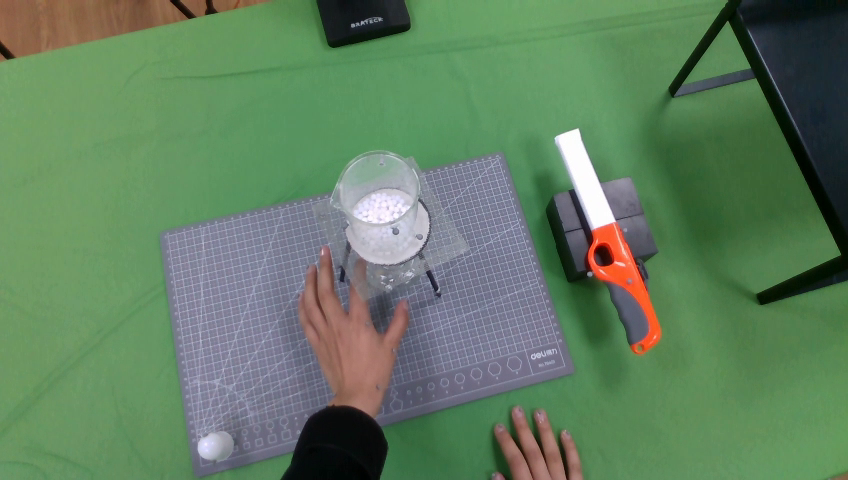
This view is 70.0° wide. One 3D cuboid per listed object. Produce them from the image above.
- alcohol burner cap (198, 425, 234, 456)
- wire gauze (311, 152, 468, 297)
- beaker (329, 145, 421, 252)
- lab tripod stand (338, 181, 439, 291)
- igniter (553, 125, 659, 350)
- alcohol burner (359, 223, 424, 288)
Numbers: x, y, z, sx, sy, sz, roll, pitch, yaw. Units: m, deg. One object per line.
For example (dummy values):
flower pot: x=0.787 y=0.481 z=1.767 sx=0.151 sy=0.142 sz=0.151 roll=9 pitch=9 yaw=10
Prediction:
alcohol burner cap: x=-0.232 y=0.221 z=0.669 sx=0.034 sy=0.048 sz=0.033 roll=0 pitch=71 yaw=1
wire gauze: x=-0.037 y=-0.018 z=0.627 sx=0.125 sy=0.011 sz=0.121 roll=-26 pitch=76 yaw=-10
beaker: x=-0.044 y=-0.034 z=0.582 sx=0.084 sy=0.101 sz=0.073 roll=-16 pitch=72 yaw=-5
lab tripod stand: x=-0.038 y=-0.005 z=0.692 sx=0.148 sy=0.132 sz=0.147 roll=0 pitch=71 yaw=1
igniter: x=0.211 y=-0.008 z=0.707 sx=0.057 sy=0.025 sz=0.274 roll=-18 pitch=73 yaw=6
alcohol burner: x=-0.038 y=0.014 z=0.698 sx=0.078 sy=0.119 sz=0.077 roll=0 pitch=75 yaw=-1
